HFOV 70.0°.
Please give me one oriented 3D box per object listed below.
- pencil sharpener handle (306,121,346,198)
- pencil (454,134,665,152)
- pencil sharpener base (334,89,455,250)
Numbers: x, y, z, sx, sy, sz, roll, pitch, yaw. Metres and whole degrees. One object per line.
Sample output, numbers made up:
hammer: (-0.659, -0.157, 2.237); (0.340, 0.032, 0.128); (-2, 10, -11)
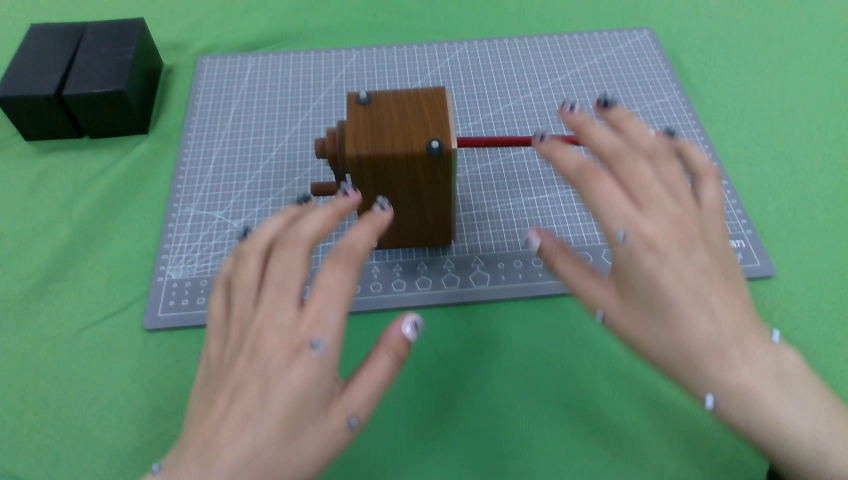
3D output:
pencil sharpener handle: (-0.070, -0.051, 0.417); (0.030, 0.068, 0.035); (-3, 57, -1)
pencil: (0.067, -0.064, 0.410); (0.194, 0.012, 0.012); (-2, 53, -2)
pencil sharpener base: (-0.019, -0.046, 0.428); (0.077, 0.108, 0.061); (-3, 54, -1)
